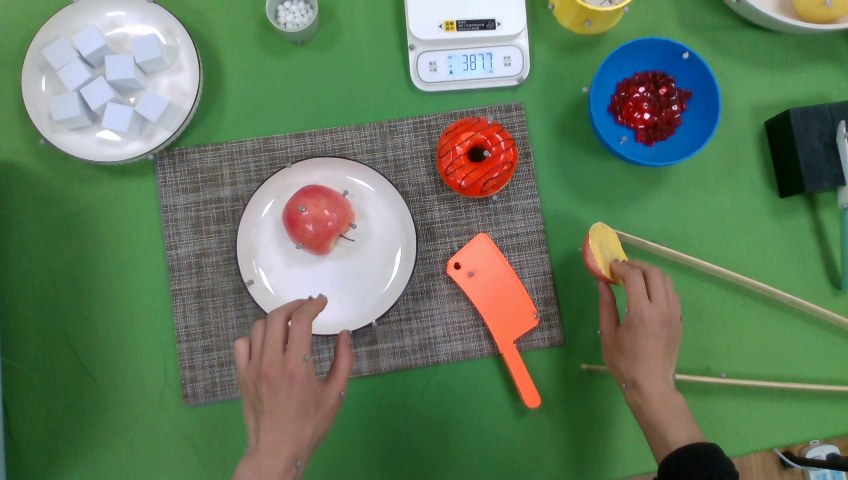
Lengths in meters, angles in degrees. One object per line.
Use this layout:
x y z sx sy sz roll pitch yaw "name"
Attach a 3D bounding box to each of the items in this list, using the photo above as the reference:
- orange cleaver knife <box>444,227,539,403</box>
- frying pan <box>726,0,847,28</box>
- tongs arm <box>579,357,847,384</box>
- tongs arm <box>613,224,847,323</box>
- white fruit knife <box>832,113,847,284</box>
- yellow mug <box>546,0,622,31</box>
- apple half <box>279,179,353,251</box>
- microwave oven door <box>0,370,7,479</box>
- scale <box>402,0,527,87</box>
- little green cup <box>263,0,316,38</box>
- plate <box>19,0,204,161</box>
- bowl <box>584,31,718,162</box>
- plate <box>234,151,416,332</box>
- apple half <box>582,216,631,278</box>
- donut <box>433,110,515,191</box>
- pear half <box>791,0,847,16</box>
0.096 0.087 0.715 0.077 0.012 0.211 -27 85 -9 "orange cleaver knife"
0.524 -0.313 0.729 0.307 0.103 0.485 -35 79 -4 "frying pan"
0.377 0.141 0.715 0.385 0.026 0.050 7 80 -2 "tongs arm"
0.395 0.057 0.727 0.387 0.028 0.028 22 76 0 "tongs arm"
0.495 -0.045 0.715 0.016 0.027 0.208 -11 99 -2 "white fruit knife"
0.193 -0.329 0.738 0.100 0.064 0.130 -41 86 -5 "yellow mug"
-0.126 -0.032 0.693 0.074 0.053 0.081 44 84 6 "apple half"
-0.489 0.131 0.564 0.039 0.244 0.355 -7 84 -2 "microwave oven door"
0.047 -0.293 0.746 0.149 0.031 0.200 -4 85 -2 "scale"
-0.160 -0.277 0.735 0.061 0.039 0.061 0 84 -1 "little green cup"
-0.364 -0.192 0.719 0.208 0.039 0.207 0 84 -2 "plate"
0.256 -0.159 0.718 0.151 0.077 0.151 0 85 -2 "bowl"
-0.113 0.001 0.706 0.209 0.038 0.208 0 85 -2 "plate"
0.198 0.013 0.688 0.033 0.081 0.081 -34 85 38 "apple half"
0.058 -0.106 0.719 0.099 0.048 0.099 0 85 0 "donut"
0.486 -0.306 0.720 0.076 0.110 0.056 28 85 5 "pear half"
